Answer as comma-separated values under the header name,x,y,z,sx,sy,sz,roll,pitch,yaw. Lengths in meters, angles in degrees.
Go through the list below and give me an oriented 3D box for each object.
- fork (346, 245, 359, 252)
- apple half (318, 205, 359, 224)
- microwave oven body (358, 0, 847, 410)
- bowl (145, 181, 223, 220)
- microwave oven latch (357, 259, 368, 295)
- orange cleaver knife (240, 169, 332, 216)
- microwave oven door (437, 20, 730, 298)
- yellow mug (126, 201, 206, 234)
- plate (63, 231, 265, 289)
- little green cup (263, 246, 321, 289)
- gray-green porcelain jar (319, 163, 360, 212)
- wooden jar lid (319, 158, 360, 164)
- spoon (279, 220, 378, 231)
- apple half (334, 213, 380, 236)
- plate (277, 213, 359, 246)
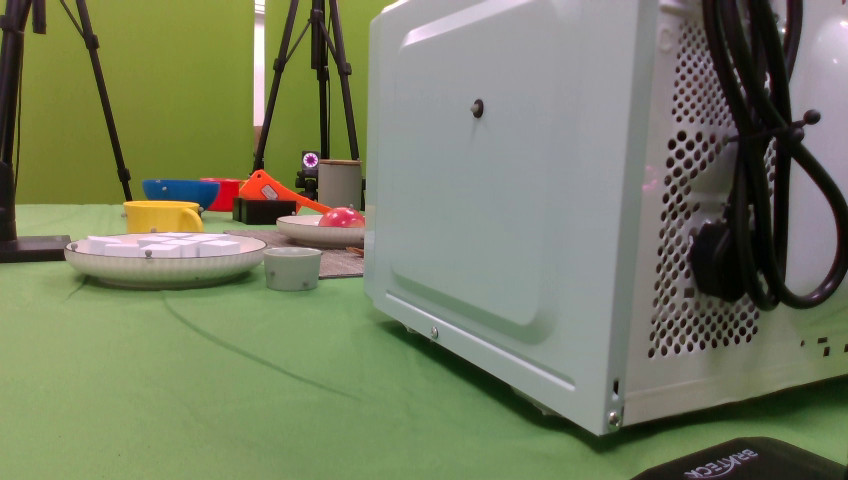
name,x,y,z,sx,sy,sz,roll,pitch,yaw
fork,-0.027,0.006,0.901,0.208,0.018,0.028,-7,-3,-43
apple half,-0.126,-0.028,0.954,0.081,0.053,0.074,-2,11,-33
microwave oven body,0.210,-0.051,0.471,0.444,0.260,0.324,-1,7,-28
bowl,-0.499,-0.081,1.261,0.151,0.077,0.151,2,7,0
microwave oven latch,-0.019,0.031,0.529,0.079,0.029,0.030,-1,7,-26
orange cleaver knife,-0.287,-0.082,1.298,0.212,0.077,0.012,25,-2,-31
microwave oven door,0.181,-0.076,0.618,0.358,0.243,0.039,-2,8,-28
yellow mug,-0.360,-0.019,0.866,0.130,0.064,0.100,6,9,27
plate,-0.288,0.021,0.687,0.208,0.039,0.207,2,8,0
little green cup,-0.142,0.029,0.649,0.061,0.038,0.061,3,7,0
gray-green porcelain jar,-0.204,-0.126,1.490,0.106,0.126,0.106,2,8,0
wooden jar lid,-0.203,-0.189,1.482,0.108,0.020,0.108,2,10,0
spoon,-0.173,-0.030,1.128,0.195,0.021,0.041,-3,-12,-30
apple half,-0.112,-0.029,1.034,0.081,0.033,0.081,0,9,0
plate,-0.135,-0.018,0.994,0.209,0.038,0.209,2,7,0
